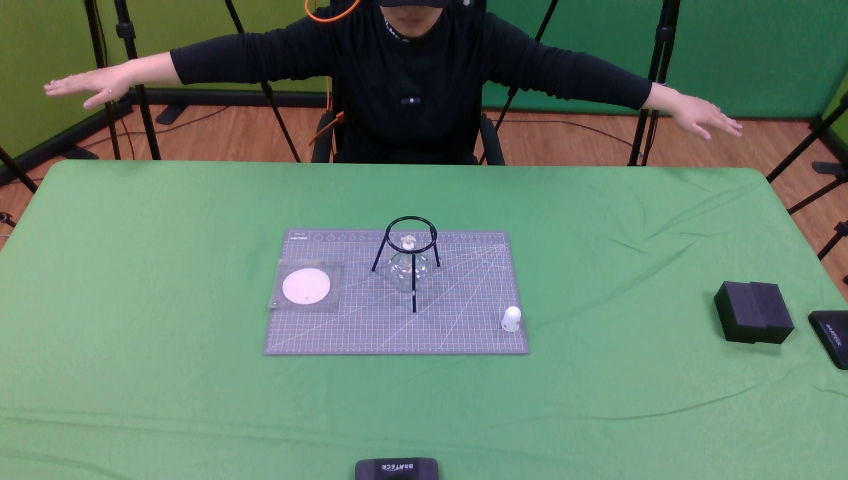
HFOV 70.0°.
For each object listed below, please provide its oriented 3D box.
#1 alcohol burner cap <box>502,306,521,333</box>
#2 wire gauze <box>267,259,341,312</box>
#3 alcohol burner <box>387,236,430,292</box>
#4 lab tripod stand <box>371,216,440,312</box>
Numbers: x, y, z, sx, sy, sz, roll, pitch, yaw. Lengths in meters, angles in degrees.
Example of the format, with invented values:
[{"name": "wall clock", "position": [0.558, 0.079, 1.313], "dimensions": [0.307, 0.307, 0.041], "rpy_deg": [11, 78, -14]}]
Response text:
[{"name": "alcohol burner cap", "position": [0.155, 0.137, 1.061], "dimensions": [0.034, 0.048, 0.033], "rpy_deg": [1, 45, -1]}, {"name": "wire gauze", "position": [-0.218, 0.081, 1.110], "dimensions": [0.125, 0.011, 0.120], "rpy_deg": [1, 46, 0]}, {"name": "alcohol burner", "position": [-0.028, 0.038, 1.093], "dimensions": [0.078, 0.120, 0.077], "rpy_deg": [1, 46, -1]}, {"name": "lab tripod stand", "position": [-0.029, 0.033, 1.083], "dimensions": [0.148, 0.132, 0.147], "rpy_deg": [1, 47, -1]}]
